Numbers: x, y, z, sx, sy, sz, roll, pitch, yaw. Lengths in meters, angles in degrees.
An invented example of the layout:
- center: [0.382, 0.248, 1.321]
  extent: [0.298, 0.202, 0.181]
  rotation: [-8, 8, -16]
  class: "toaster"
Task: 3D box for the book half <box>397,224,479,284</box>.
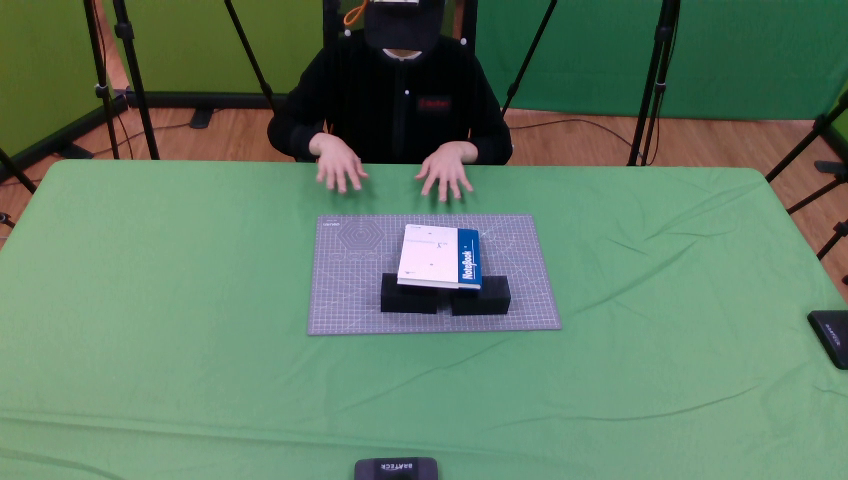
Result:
- center: [0.029, 0.023, 1.128]
  extent: [0.143, 0.007, 0.209]
  rotation: [5, 28, 1]
  class: "book half"
